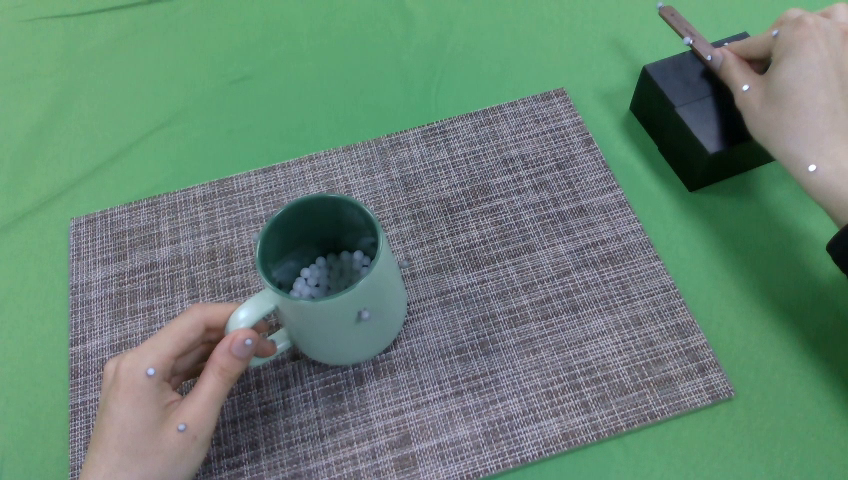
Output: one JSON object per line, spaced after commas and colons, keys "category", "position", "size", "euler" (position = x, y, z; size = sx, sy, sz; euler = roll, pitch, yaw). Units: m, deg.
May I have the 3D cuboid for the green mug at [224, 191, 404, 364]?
{"category": "green mug", "position": [-0.075, 0.038, 0.410], "size": [0.125, 0.106, 0.092], "euler": [-37, 65, -16]}

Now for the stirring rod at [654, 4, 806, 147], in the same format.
{"category": "stirring rod", "position": [0.243, -0.138, 0.491], "size": [0.014, 0.006, 0.174], "euler": [-25, 61, -7]}
